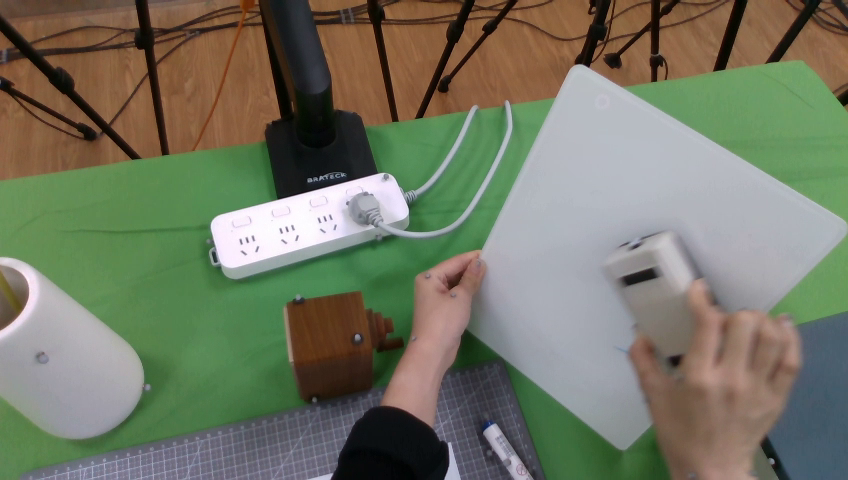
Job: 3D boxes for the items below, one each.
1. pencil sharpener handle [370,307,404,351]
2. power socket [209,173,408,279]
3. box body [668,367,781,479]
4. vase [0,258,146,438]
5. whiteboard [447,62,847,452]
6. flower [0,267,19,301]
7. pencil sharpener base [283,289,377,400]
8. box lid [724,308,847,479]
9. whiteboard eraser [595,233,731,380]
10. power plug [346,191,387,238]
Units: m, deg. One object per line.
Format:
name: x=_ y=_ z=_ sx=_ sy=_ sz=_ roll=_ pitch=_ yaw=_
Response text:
pencil sharpener handle: x=-0.033 y=0.084 z=0.560 sx=0.031 sy=0.068 sz=0.035 roll=-9 pitch=60 yaw=-11
power socket: x=-0.123 y=-0.018 z=0.671 sx=0.227 sy=0.033 sz=0.071 roll=-16 pitch=62 yaw=-15
box body: x=0.397 y=0.248 z=0.482 sx=0.255 sy=0.161 sz=0.360 roll=-12 pitch=61 yaw=-12
vase: x=-0.302 y=0.092 z=0.489 sx=0.098 sy=0.201 sz=0.097 roll=2 pitch=58 yaw=-2
whiteboard: x=0.189 y=0.009 z=0.560 sx=0.216 sy=0.307 sz=0.144 roll=38 pitch=44 yaw=17
flower: x=-0.295 y=0.033 z=0.429 sx=0.038 sy=0.365 sz=0.043 roll=-22 pitch=45 yaw=-25
pencil sharpener base: x=-0.084 y=0.098 z=0.560 sx=0.077 sy=0.108 sz=0.061 roll=-9 pitch=59 yaw=-11
box lid: x=0.402 y=0.207 z=0.420 sx=0.264 sy=0.015 sz=0.367 roll=-12 pitch=60 yaw=-12
whiteboard eraser: x=0.184 y=0.051 z=0.467 sx=0.042 sy=0.055 sz=0.113 roll=-36 pitch=97 yaw=-48
power plug: x=-0.063 y=-0.021 z=0.651 sx=0.035 sy=0.053 sz=0.072 roll=-8 pitch=61 yaw=-9
